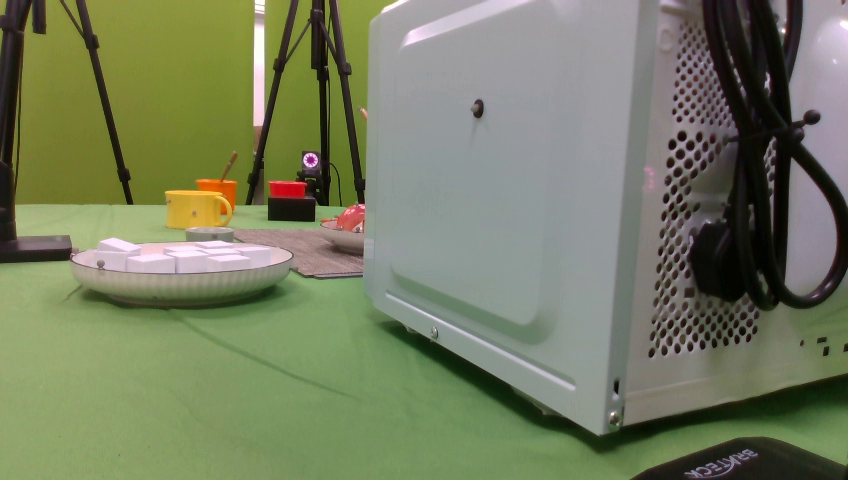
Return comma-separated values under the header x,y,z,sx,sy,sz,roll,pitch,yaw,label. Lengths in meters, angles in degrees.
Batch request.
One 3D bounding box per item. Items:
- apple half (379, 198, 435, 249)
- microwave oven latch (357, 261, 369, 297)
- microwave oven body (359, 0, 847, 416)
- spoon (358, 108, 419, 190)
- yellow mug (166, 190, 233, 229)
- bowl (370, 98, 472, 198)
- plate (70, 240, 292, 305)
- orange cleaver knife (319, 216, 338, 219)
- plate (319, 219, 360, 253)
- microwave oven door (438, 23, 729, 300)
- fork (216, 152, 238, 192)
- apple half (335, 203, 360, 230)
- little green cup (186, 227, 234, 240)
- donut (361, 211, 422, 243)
x,y,z,sx,sy,sz,roll,pitch,yaw,label
-0.020,-0.030,0.891,0.081,0.053,0.074,-3,50,-26,apple half
-0.019,0.033,0.531,0.079,0.029,0.030,-1,7,-27,microwave oven latch
0.211,-0.047,0.474,0.444,0.260,0.324,-1,7,-28,microwave oven body
-0.058,-0.143,0.928,0.042,0.021,0.193,10,43,-47,spoon
-0.415,-0.057,1.132,0.130,0.064,0.100,6,8,16,yellow mug
0.010,-0.111,0.841,0.152,0.151,0.076,-3,42,-32,bowl
-0.242,0.031,0.618,0.208,0.039,0.207,2,8,0,plate
-0.142,-0.057,1.395,0.077,0.012,0.212,2,7,44,orange cleaver knife
-0.059,-0.007,0.939,0.209,0.038,0.209,3,8,0,plate
0.181,-0.072,0.621,0.358,0.243,0.039,-2,8,-29,microwave oven door
-0.455,-0.132,1.366,0.028,0.018,0.207,-3,-35,-38,fork
-0.116,-0.038,0.960,0.081,0.033,0.081,-37,8,7,apple half
-0.285,0.005,0.805,0.061,0.038,0.061,2,8,0,little green cup
-0.051,-0.019,0.958,0.099,0.048,0.099,7,7,0,donut
